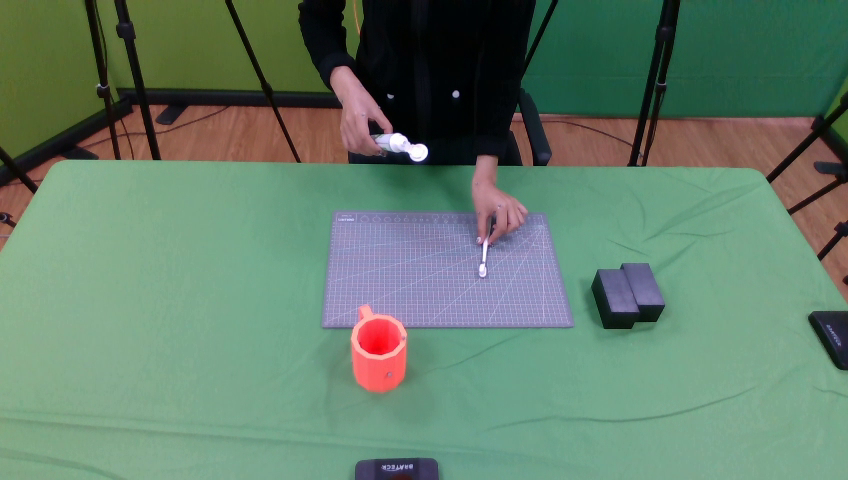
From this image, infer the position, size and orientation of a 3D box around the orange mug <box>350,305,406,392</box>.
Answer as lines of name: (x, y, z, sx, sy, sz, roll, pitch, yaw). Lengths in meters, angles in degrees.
orange mug: (-0.080, 0.168, 0.978, 0.083, 0.101, 0.125, -16, 54, -18)

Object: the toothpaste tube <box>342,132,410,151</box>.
toothpaste tube: (-0.086, -0.187, 1.148, 0.055, 0.034, 0.164, 12, 1, -44)

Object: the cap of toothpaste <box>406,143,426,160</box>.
cap of toothpaste: (-0.014, -0.163, 1.100, 0.037, 0.011, 0.037, -5, 66, 11)

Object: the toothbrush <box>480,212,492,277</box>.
toothbrush: (0.123, 0.003, 1.203, 0.014, 0.017, 0.181, -8, 42, 19)
